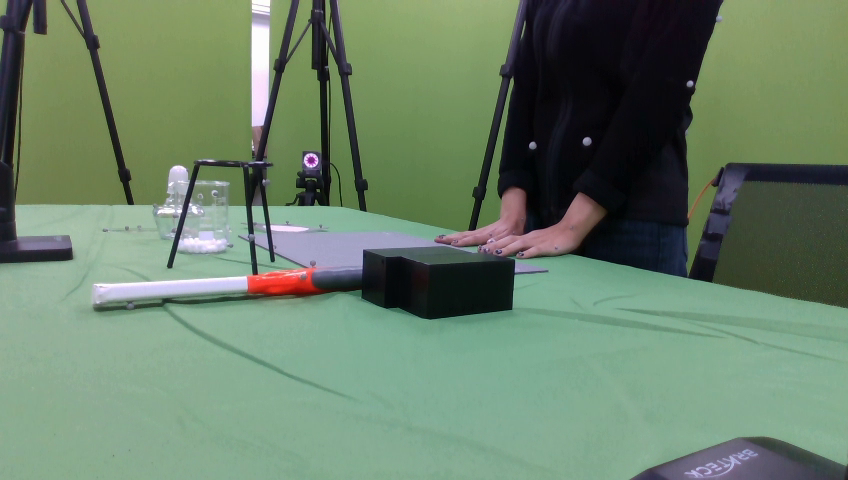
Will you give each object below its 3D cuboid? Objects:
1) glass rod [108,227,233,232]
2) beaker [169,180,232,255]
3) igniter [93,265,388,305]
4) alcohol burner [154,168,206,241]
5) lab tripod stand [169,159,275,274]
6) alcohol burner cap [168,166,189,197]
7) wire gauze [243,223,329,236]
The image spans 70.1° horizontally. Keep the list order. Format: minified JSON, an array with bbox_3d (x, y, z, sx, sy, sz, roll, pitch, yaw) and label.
[{"bbox_3d":[-0.437,-0.019,1.054,0.201,0.008,0.008,-1,8,-26],"label":"glass rod"},{"bbox_3d":[-0.313,-0.032,0.850,0.084,0.100,0.073,-5,10,-41],"label":"beaker"},{"bbox_3d":[-0.164,0.042,0.589,0.278,0.025,0.057,-2,-6,-31],"label":"igniter"},{"bbox_3d":[-0.393,-0.059,0.974,0.078,0.119,0.078,1,8,0],"label":"alcohol burner"},{"bbox_3d":[-0.230,-0.030,0.724,0.148,0.131,0.148,1,9,0],"label":"lab tripod stand"},{"bbox_3d":[-0.392,-0.095,0.970,0.034,0.048,0.034,7,7,-1],"label":"alcohol burner cap"},{"bbox_3d":[-0.266,-0.024,1.156,0.124,0.011,0.122,12,12,40],"label":"wire gauze"}]
